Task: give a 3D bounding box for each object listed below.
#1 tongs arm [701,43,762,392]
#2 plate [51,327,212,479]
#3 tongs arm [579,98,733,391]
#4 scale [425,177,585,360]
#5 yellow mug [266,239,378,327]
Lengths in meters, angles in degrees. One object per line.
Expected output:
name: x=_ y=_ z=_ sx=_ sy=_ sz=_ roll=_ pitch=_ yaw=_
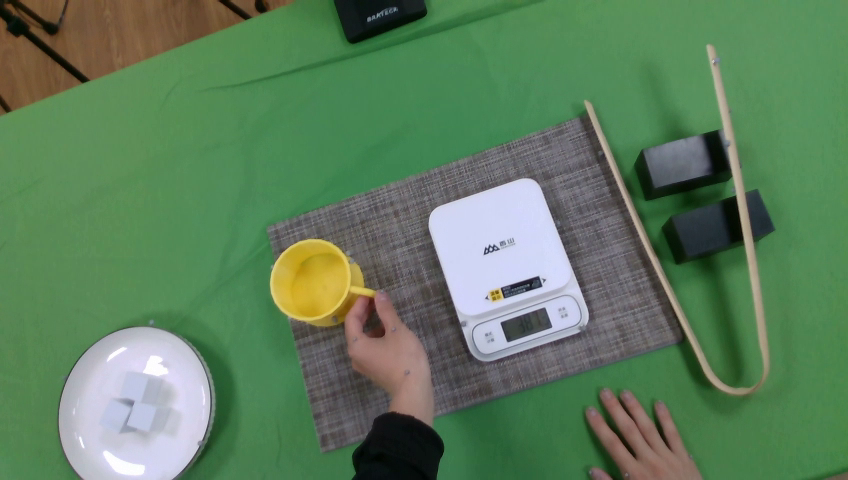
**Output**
tongs arm: x=0.329 y=-0.028 z=0.674 sx=0.050 sy=0.027 sz=0.383 roll=-13 pitch=81 yaw=33
plate: x=-0.362 y=0.215 z=0.762 sx=0.207 sy=0.039 sz=0.206 roll=-2 pitch=77 yaw=8
tongs arm: x=0.265 y=-0.005 z=0.720 sx=0.028 sy=0.028 sz=0.385 roll=-27 pitch=73 yaw=27
scale: x=0.095 y=0.032 z=0.734 sx=0.148 sy=0.032 sz=0.199 roll=-19 pitch=76 yaw=4
yellow mug: x=-0.120 y=0.057 z=0.743 sx=0.130 sy=0.064 sz=0.099 roll=10 pitch=79 yaw=10
